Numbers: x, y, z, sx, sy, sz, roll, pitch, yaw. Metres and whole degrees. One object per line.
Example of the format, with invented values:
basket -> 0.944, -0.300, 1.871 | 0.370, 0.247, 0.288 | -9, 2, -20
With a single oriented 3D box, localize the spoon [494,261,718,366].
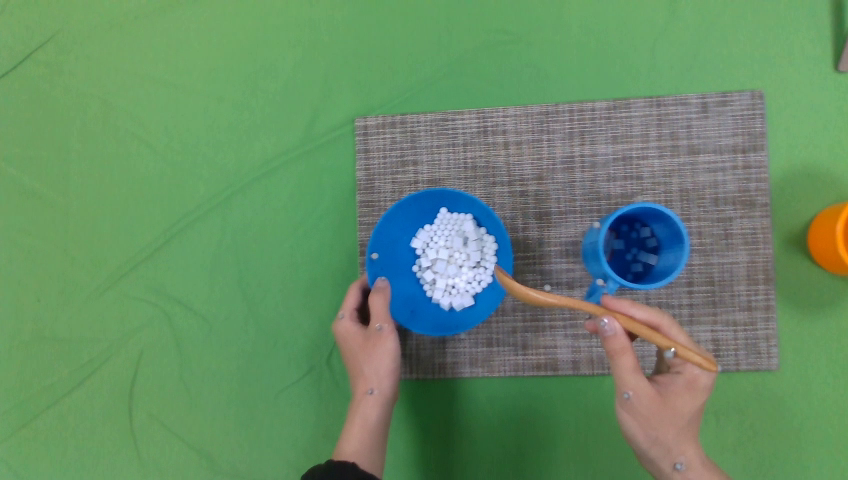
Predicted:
spoon -> 0.127, 0.052, 0.462 | 0.192, 0.042, 0.021 | 19, 78, 42

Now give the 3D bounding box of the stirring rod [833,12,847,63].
stirring rod -> 0.452, -0.272, 0.617 | 0.014, 0.006, 0.177 | 5, 110, 1

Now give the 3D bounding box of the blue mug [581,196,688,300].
blue mug -> 0.199, 0.016, 0.612 | 0.082, 0.106, 0.116 | 35, 92, 6

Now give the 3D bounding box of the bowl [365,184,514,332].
bowl -> 0.018, 0.020, 0.643 | 0.151, 0.077, 0.151 | 0, 88, 6
